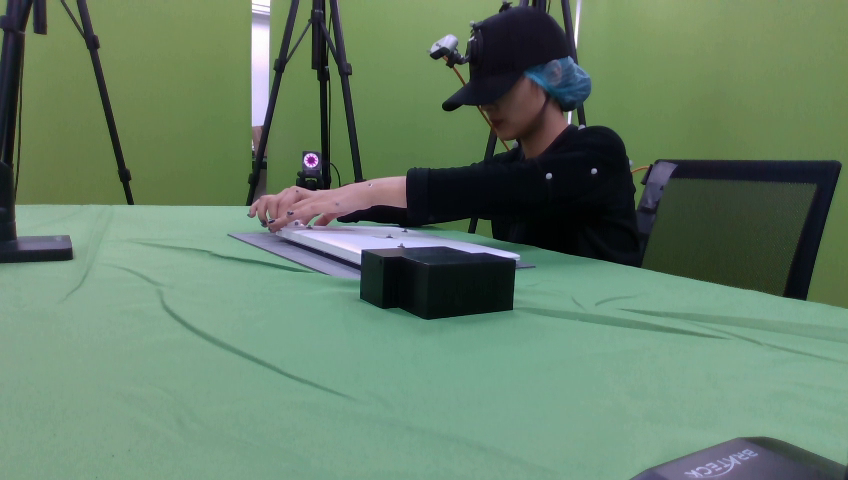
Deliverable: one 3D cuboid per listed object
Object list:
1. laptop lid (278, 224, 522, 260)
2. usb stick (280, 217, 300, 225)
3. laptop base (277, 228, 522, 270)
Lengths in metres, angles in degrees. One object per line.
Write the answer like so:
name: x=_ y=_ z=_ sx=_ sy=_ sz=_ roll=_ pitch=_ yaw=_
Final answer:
laptop lid: x=-0.052 y=-0.001 z=0.909 sx=0.243 sy=0.013 sz=0.355 roll=0 pitch=7 yaw=-32
usb stick: x=-0.226 y=-0.023 z=1.024 sx=0.021 sy=0.027 sz=0.059 roll=4 pitch=8 yaw=-31
laptop base: x=-0.054 y=0.011 z=0.910 sx=0.237 sy=0.023 sz=0.352 roll=1 pitch=7 yaw=-33
